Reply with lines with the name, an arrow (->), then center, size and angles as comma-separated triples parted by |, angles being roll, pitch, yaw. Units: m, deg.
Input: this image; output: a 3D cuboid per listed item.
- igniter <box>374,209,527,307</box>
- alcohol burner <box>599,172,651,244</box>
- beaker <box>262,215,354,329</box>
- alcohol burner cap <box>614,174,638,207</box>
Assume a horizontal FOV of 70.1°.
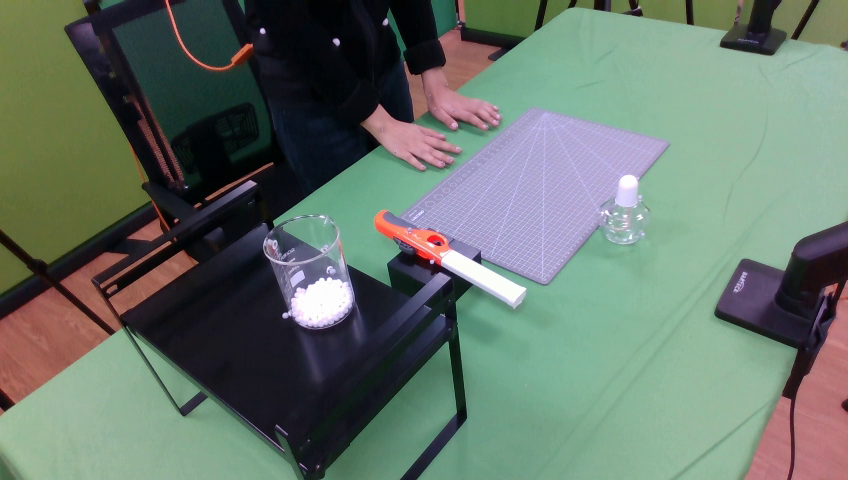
igniter -> 0.026, 0.019, 0.873 | 0.274, 0.025, 0.057 | 29, 52, 31
alcohol burner -> 0.307, -0.052, 0.920 | 0.078, 0.119, 0.077 | -6, 42, 6
beaker -> -0.112, 0.034, 0.616 | 0.073, 0.101, 0.084 | 13, 44, 23
alcohol burner cap -> 0.303, -0.076, 0.901 | 0.034, 0.048, 0.033 | -5, 43, 5
